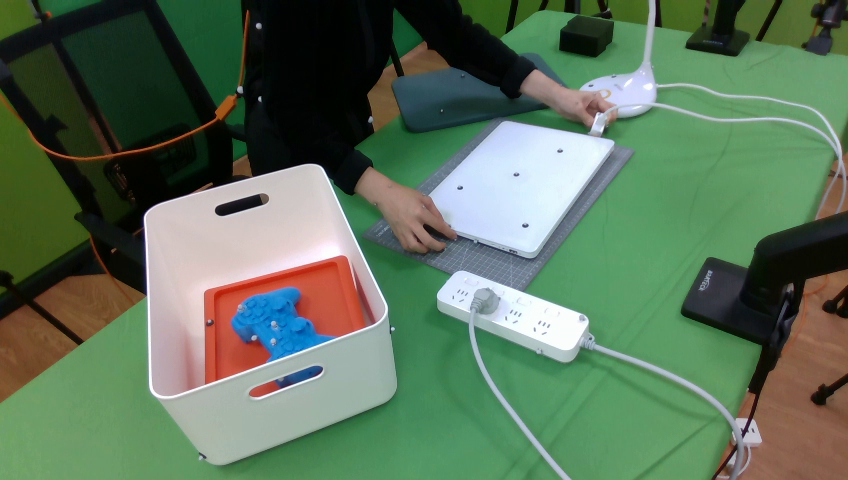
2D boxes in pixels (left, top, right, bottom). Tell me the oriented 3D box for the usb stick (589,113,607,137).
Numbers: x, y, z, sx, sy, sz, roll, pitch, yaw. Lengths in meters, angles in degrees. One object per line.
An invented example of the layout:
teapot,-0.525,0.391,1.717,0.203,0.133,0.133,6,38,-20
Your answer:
usb stick,0.331,-0.212,1.157,0.021,0.027,0.059,19,68,5

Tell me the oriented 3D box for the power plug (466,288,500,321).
power plug,0.072,0.093,0.813,0.035,0.053,0.073,30,54,35

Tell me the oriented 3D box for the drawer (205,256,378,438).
drawer,-0.177,0.130,0.787,0.195,0.073,0.210,-14,39,-9

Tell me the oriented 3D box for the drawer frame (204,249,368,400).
drawer frame,-0.174,0.129,0.790,0.202,0.083,0.212,-16,45,-8

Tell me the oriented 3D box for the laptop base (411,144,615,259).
laptop base,0.167,-0.102,1.075,0.234,0.023,0.355,17,45,30

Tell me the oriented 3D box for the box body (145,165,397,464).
box body,-0.205,0.080,0.802,0.255,0.161,0.361,-18,41,-13

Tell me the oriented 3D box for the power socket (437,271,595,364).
power socket,0.118,0.102,0.830,0.225,0.033,0.072,20,48,28

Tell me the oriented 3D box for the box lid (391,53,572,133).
box lid,0.123,-0.339,1.366,0.372,0.015,0.261,-12,40,-5

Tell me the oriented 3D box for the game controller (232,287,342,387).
game controller,-0.167,0.109,0.734,0.097,0.052,0.154,-35,47,-21

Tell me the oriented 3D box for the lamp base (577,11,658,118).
lamp base,0.406,-0.364,1.222,0.180,0.181,0.159,-20,42,-18

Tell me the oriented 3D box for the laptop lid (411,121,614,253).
laptop lid,0.164,-0.112,1.068,0.240,0.013,0.357,19,46,30
